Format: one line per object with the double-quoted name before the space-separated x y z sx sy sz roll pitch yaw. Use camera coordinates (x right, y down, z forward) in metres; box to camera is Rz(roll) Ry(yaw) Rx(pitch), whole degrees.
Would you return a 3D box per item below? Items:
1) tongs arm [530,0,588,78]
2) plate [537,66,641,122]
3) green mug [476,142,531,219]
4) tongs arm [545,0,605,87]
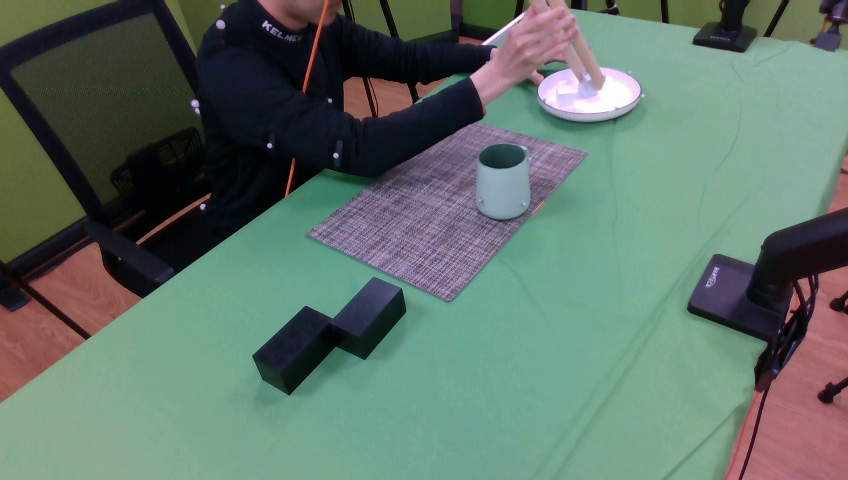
"tongs arm" 0.220 -0.391 1.053 0.028 0.391 0.028 -46 53 10
"plate" 0.338 -0.299 1.255 0.209 0.038 0.208 -4 41 4
"green mug" 0.140 -0.106 1.002 0.092 0.105 0.125 21 49 30
"tongs arm" 0.235 -0.375 1.037 0.026 0.388 0.050 -49 55 8
